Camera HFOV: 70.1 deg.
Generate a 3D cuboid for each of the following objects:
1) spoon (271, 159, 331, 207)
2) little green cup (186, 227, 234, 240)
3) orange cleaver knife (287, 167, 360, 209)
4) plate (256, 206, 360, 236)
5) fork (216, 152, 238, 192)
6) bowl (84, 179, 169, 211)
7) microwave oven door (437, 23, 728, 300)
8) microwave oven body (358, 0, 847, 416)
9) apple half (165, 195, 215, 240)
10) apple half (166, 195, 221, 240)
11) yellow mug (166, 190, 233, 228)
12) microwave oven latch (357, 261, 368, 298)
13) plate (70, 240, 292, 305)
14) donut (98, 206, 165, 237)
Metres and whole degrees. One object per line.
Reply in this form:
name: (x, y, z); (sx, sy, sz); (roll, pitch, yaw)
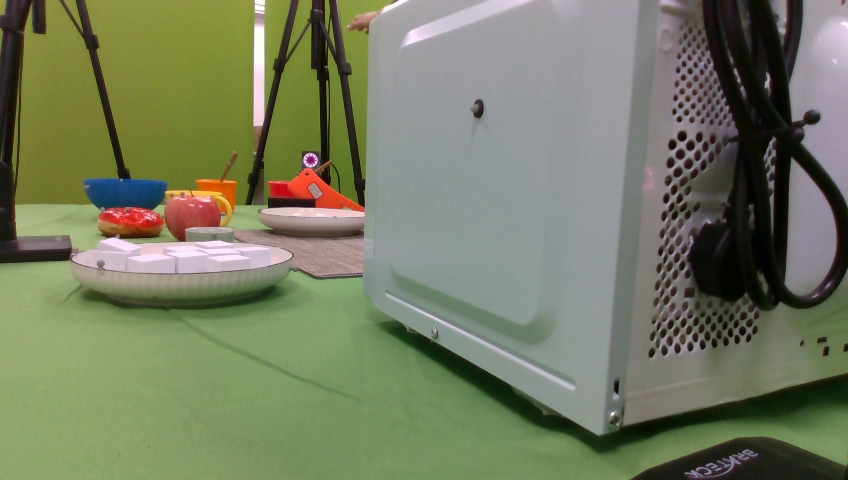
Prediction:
spoon: (-0.307, -0.141, 1.513); (0.193, 0.021, 0.041); (-42, 3, 8)
little green cup: (-0.284, 0.005, 0.805); (0.061, 0.038, 0.061); (2, 8, 0)
orange cleaver knife: (-0.209, -0.089, 1.383); (0.212, 0.077, 0.012); (31, 4, -15)
plate: (-0.202, -0.037, 1.120); (0.209, 0.038, 0.209); (2, 8, 0)
fork: (-0.455, -0.132, 1.366); (0.028, 0.018, 0.207); (-2, -35, -37)
bowl: (-0.584, -0.078, 1.194); (0.151, 0.077, 0.151); (3, 8, 0)
microwave oven door: (0.181, -0.072, 0.621); (0.358, 0.243, 0.039); (-2, 8, -29)
microwave oven body: (0.211, -0.047, 0.474); (0.444, 0.260, 0.324); (-1, 7, -28)
apple half: (-0.377, -0.038, 0.964); (0.082, 0.081, 0.032); (-4, 15, -39)
apple half: (-0.352, -0.031, 0.935); (0.081, 0.074, 0.053); (1, 11, -40)
yellow mug: (-0.415, -0.057, 1.132); (0.130, 0.064, 0.100); (6, 8, 16)
microwave oven latch: (-0.019, 0.033, 0.530); (0.079, 0.029, 0.030); (-1, 7, -27)
plate: (-0.242, 0.031, 0.618); (0.208, 0.039, 0.207); (2, 8, 0)
donut: (-0.472, -0.028, 0.979); (0.099, 0.048, 0.099); (5, 8, 0)
